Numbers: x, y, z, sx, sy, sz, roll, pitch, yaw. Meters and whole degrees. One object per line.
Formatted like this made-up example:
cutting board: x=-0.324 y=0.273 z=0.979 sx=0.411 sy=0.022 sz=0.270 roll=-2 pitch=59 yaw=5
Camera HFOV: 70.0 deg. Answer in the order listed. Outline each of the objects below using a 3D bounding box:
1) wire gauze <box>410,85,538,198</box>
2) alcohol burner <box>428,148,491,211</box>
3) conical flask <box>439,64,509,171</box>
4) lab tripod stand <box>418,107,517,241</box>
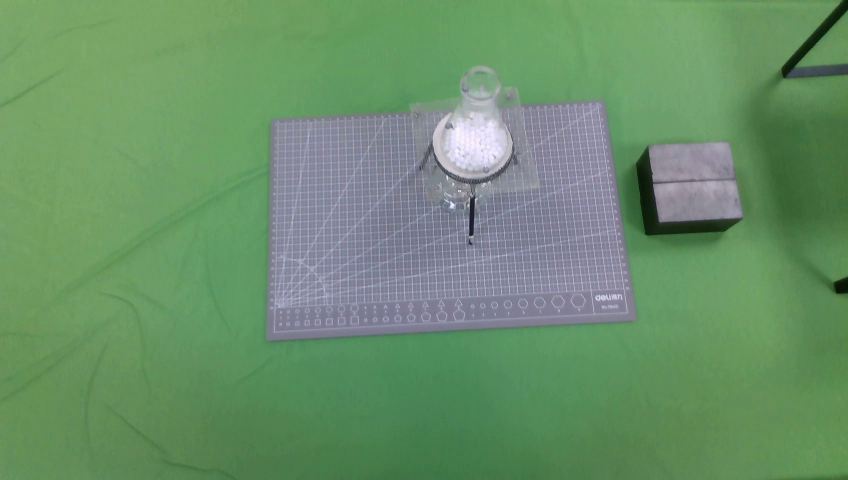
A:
wire gauze: x=0.053 y=-0.107 z=0.658 sx=0.125 sy=0.011 sz=0.121 roll=-7 pitch=75 yaw=-4
alcohol burner: x=0.043 y=-0.079 z=0.729 sx=0.078 sy=0.120 sz=0.077 roll=0 pitch=73 yaw=0
conical flask: x=0.052 y=-0.125 z=0.601 sx=0.075 sy=0.122 sz=0.075 roll=0 pitch=72 yaw=1
lab tripod stand: x=0.057 y=-0.090 z=0.721 sx=0.148 sy=0.132 sz=0.147 roll=0 pitch=72 yaw=1
